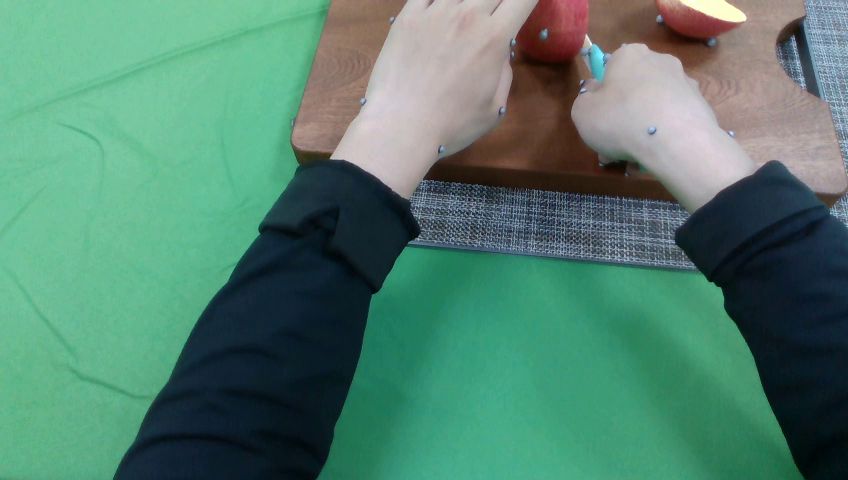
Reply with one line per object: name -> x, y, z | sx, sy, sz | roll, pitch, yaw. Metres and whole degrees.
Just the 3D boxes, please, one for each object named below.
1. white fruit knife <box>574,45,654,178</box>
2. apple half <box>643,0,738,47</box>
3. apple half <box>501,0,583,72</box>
white fruit knife -> 0.124, -0.126, 0.453 | 0.016, 0.028, 0.205 | -13, 51, -1
apple half -> 0.203, -0.174, 0.482 | 0.081, 0.033, 0.080 | 13, 44, -12
apple half -> 0.086, -0.171, 0.465 | 0.053, 0.075, 0.080 | -10, 63, 1
